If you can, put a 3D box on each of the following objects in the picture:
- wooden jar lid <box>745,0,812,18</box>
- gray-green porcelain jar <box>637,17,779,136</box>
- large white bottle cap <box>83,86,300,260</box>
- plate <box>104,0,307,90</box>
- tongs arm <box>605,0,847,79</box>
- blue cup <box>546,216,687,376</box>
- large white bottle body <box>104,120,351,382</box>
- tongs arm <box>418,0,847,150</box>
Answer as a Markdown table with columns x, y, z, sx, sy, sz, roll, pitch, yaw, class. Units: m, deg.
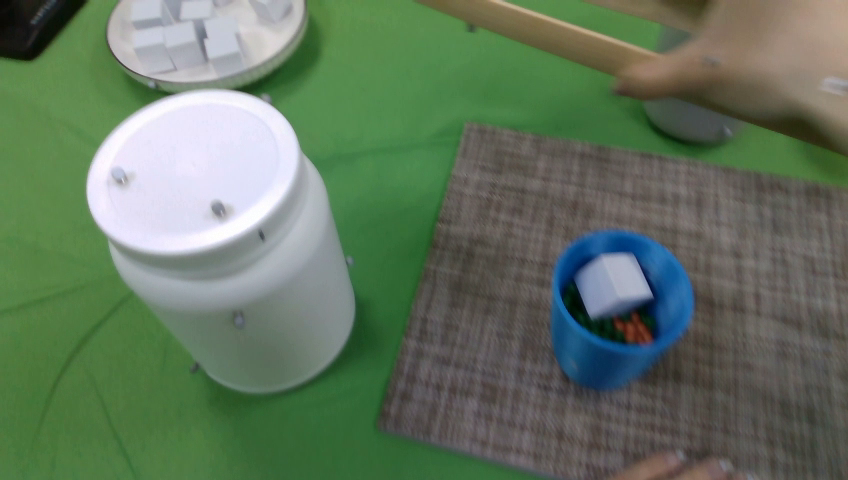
| x | y | z | sx | sy | sz | roll | pitch | yaw | class |
| --- | --- | --- | --- | --- | --- | --- | --- | --- | --- |
| 0.252 | -0.198 | 0.489 | 0.108 | 0.021 | 0.107 | 0 | 55 | 0 | wooden jar lid |
| 0.254 | -0.165 | 0.542 | 0.106 | 0.127 | 0.105 | -1 | 58 | 2 | gray-green porcelain jar |
| -0.127 | -0.041 | 0.337 | 0.115 | 0.018 | 0.114 | 0 | 57 | 1 | large white bottle cap |
| -0.226 | -0.229 | 0.645 | 0.208 | 0.039 | 0.205 | 0 | 58 | 1 | plate |
| 0.119 | -0.153 | 0.378 | 0.385 | 0.028 | 0.028 | 28 | 60 | 22 | tongs arm |
| 0.123 | 0.049 | 0.420 | 0.092 | 0.101 | 0.092 | -2 | 57 | 3 | blue cup |
| -0.125 | 0.005 | 0.408 | 0.130 | 0.186 | 0.129 | 0 | 58 | 1 | large white bottle body |
| 0.101 | -0.130 | 0.365 | 0.382 | 0.027 | 0.050 | 30 | 64 | 23 | tongs arm |
